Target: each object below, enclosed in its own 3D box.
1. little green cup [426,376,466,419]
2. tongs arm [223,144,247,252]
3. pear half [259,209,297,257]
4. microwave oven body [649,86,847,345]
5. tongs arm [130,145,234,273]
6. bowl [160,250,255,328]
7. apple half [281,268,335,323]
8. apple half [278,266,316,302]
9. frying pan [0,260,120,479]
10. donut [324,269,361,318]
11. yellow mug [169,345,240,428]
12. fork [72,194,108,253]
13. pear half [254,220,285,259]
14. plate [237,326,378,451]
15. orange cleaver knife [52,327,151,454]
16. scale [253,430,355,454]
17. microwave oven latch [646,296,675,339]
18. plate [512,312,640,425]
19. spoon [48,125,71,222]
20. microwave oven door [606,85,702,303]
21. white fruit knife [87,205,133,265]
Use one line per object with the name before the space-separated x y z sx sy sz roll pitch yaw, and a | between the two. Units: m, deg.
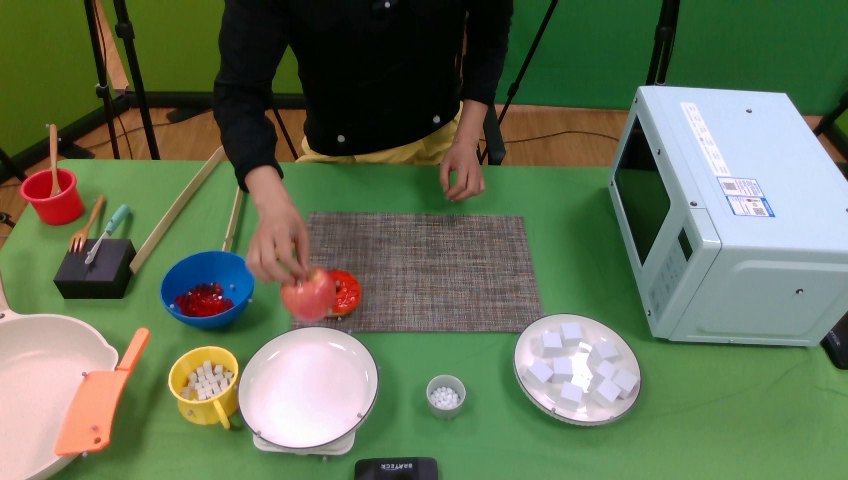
little green cup | 0.033 0.248 0.950 0.061 0.039 0.061 3 46 -2
tongs arm | -0.398 -0.072 1.232 0.051 0.026 0.382 -2 45 -1
pear half | -0.273 -0.024 1.141 0.076 0.110 0.056 27 50 16
microwave oven body | 0.567 -0.053 1.118 0.326 0.261 0.439 2 45 -1
tongs arm | -0.485 -0.077 1.234 0.028 0.028 0.385 6 44 12
bowl | -0.362 0.098 1.040 0.151 0.077 0.150 2 45 -2
apple half | -0.164 0.089 0.898 0.053 0.075 0.081 31 42 34
apple half | -0.192 0.073 0.920 0.032 0.082 0.081 31 51 35
frying pan | -0.647 0.164 0.936 0.307 0.103 0.485 -19 58 -22
donut | -0.161 0.095 1.075 0.099 0.048 0.098 4 45 -4
yellow mug | -0.323 0.230 0.922 0.100 0.064 0.130 -24 53 -25
fork | -0.634 -0.036 1.158 0.028 0.019 0.206 -7 32 -8
pear half | -0.294 0.003 1.127 0.070 0.088 0.031 26 49 16
plate | -0.174 0.224 0.917 0.209 0.038 0.208 2 46 -2
orange cleaver knife | -0.462 0.212 0.879 0.077 0.012 0.210 7 45 -2
scale | -0.175 0.236 0.951 0.149 0.032 0.199 4 45 0
microwave oven latch | 0.412 0.134 1.061 0.030 0.029 0.078 4 45 1
plate | 0.246 0.213 0.999 0.208 0.039 0.206 2 46 -2
spoon | -0.718 -0.132 1.188 0.041 0.021 0.193 -3 90 -7
microwave oven door | 0.422 -0.094 1.140 0.039 0.245 0.353 2 46 -1
white fruit knife | -0.584 -0.013 1.129 0.016 0.027 0.206 -1 31 -4
